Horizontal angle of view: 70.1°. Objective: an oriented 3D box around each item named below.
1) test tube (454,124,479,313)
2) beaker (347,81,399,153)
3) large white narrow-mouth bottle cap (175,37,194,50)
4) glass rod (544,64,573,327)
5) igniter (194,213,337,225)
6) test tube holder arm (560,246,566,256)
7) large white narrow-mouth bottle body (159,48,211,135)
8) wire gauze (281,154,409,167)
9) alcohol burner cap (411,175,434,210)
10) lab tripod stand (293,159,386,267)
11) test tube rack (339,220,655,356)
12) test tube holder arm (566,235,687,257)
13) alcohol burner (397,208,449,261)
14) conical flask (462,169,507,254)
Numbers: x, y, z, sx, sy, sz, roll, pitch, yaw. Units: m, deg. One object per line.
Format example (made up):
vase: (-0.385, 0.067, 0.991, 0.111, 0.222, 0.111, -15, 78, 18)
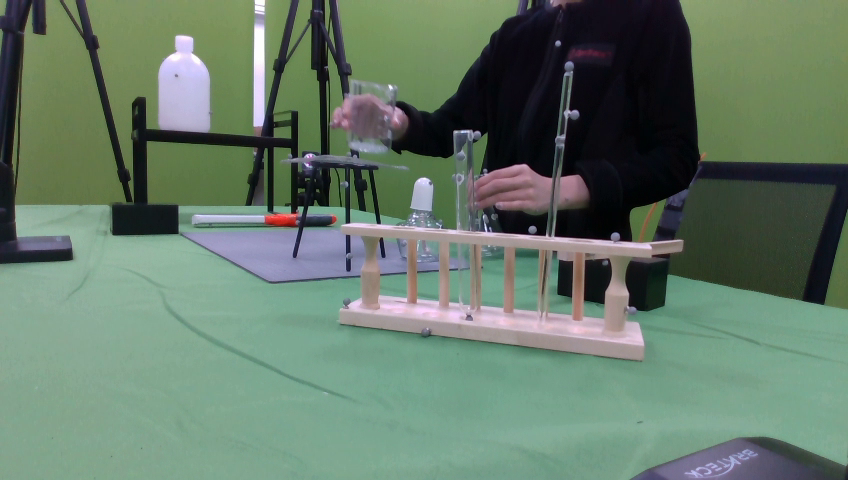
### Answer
test tube: (0.034, -0.015, 0.477, 0.017, 0.150, 0.017, -2, 9, 1)
beaker: (-0.077, -0.186, 0.917, 0.074, 0.100, 0.083, -4, 20, -34)
large white narrow-mouth bottle cap: (-0.501, -0.410, 1.264, 0.038, 0.024, 0.037, 2, 7, 0)
glass rod: (0.101, -0.028, 0.453, 0.008, 0.199, 0.008, 2, 13, 0)
igniter: (-0.306, -0.042, 1.196, 0.278, 0.025, 0.057, -2, -2, -31)
test tube holder arm: (0.173, 0.007, 0.611, 0.088, 0.015, 0.010, -3, 9, -30)
large white narrow-mouth bottle body: (-0.503, -0.323, 1.275, 0.102, 0.194, 0.102, 2, 7, 0)
wire gauze: (-0.104, -0.104, 0.784, 0.126, 0.011, 0.121, -2, 8, -38)
alcohol burner cap: (0.000, -0.067, 0.842, 0.034, 0.048, 0.034, 7, 8, -1)
lab tripod stand: (-0.104, -0.039, 0.797, 0.148, 0.131, 0.148, 2, 5, 0)
test tube rack: (0.056, 0.032, 0.495, 0.242, 0.085, 0.067, 4, 7, 15)
test tube holder arm: (0.215, 0.006, 0.630, 0.179, 0.015, 0.013, -3, 9, -31)
alcohol burner: (-0.002, -0.031, 0.846, 0.078, 0.119, 0.078, 0, 6, 0)
conical flask: (0.086, -0.043, 0.907, 0.075, 0.122, 0.075, -9, 7, 1)
